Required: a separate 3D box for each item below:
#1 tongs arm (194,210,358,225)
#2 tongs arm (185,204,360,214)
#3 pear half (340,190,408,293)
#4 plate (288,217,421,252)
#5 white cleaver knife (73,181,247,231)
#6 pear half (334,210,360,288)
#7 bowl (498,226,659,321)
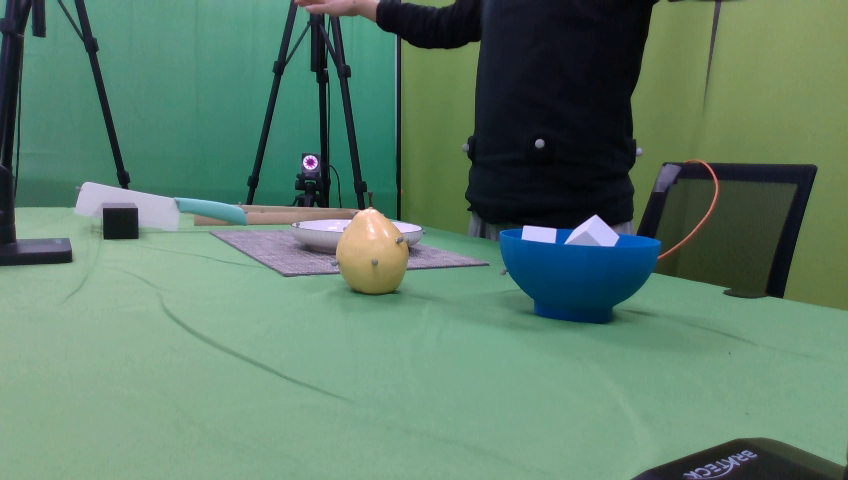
[{"bbox_3d":[-0.298,-0.050,1.307,0.390,0.028,0.028,-3,7,-38],"label":"tongs arm"},{"bbox_3d":[-0.337,-0.065,1.376,0.387,0.026,0.050,0,9,-25],"label":"tongs arm"},{"bbox_3d":[-0.047,0.002,0.641,0.055,0.110,0.076,6,18,32],"label":"pear half"},{"bbox_3d":[-0.109,-0.008,0.956,0.208,0.039,0.207,2,7,0],"label":"plate"},{"bbox_3d":[-0.465,-0.052,1.090,0.288,0.066,0.021,9,7,-30],"label":"white cleaver knife"},{"bbox_3d":[-0.076,0.008,0.663,0.031,0.088,0.071,7,18,33],"label":"pear half"},{"bbox_3d":[0.145,0.032,0.585,0.151,0.077,0.151,2,7,0],"label":"bowl"}]
